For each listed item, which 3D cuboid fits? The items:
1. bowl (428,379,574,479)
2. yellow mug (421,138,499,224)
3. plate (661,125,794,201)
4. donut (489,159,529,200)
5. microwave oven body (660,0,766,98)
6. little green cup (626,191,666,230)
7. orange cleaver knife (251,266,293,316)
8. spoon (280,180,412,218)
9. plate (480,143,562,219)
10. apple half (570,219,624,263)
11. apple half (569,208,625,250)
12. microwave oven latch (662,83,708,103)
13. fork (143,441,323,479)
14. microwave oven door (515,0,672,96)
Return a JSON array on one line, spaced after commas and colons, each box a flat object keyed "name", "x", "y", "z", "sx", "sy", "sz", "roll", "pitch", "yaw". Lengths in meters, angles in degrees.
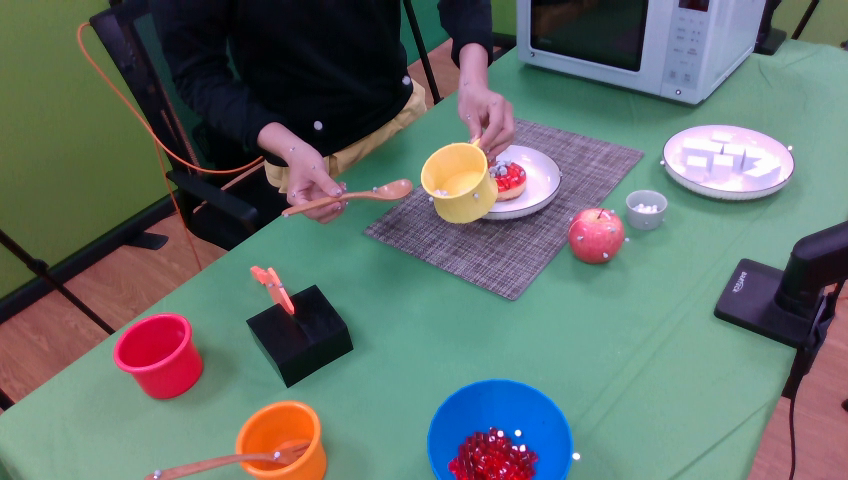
[{"name": "bowl", "x": 0.082, "y": 0.233, "z": 0.644, "sx": 0.151, "sy": 0.077, "sz": 0.150, "roll": -4, "pitch": 39, "yaw": 4}, {"name": "yellow mug", "x": 0.061, "y": -0.094, "z": 0.880, "sx": 0.099, "sy": 0.064, "sz": 0.131, "roll": 23, "pitch": 68, "yaw": 33}, {"name": "plate", "x": 0.513, "y": -0.128, "z": 1.035, "sx": 0.207, "sy": 0.039, "sz": 0.206, "roll": -4, "pitch": 40, "yaw": 4}, {"name": "donut", "x": 0.131, "y": -0.105, "z": 1.043, "sx": 0.099, "sy": 0.048, "sz": 0.098, "roll": -4, "pitch": 38, "yaw": 4}, {"name": "microwave oven body", "x": 0.472, "y": -0.513, "z": 1.317, "sx": 0.438, "sy": 0.261, "sz": 0.327, "roll": 26, "pitch": 51, "yaw": 34}, {"name": "little green cup", "x": 0.352, "y": -0.046, "z": 0.963, "sx": 0.061, "sy": 0.039, "sz": 0.061, "roll": -4, "pitch": 40, "yaw": 4}, {"name": "orange cleaver knife", "x": -0.221, "y": 0.071, "z": 0.873, "sx": 0.012, "sy": 0.077, "sz": 0.210, "roll": -25, "pitch": 11, "yaw": -21}, {"name": "spoon", "x": -0.106, "y": -0.058, "z": 0.841, "sx": 0.195, "sy": 0.022, "sz": 0.041, "roll": -12, "pitch": 41, "yaw": -27}, {"name": "plate", "x": 0.134, "y": -0.098, "z": 1.051, "sx": 0.209, "sy": 0.038, "sz": 0.208, "roll": -4, "pitch": 40, "yaw": 4}, {"name": "apple half", "x": 0.250, "y": 0.009, "z": 0.885, "sx": 0.081, "sy": 0.081, "sz": 0.033, "roll": 7, "pitch": 39, "yaw": 17}, {"name": "apple half", "x": 0.262, "y": -0.014, "z": 0.913, "sx": 0.080, "sy": 0.075, "sz": 0.053, "roll": 5, "pitch": 37, "yaw": 19}, {"name": "microwave oven latch", "x": 0.518, "y": -0.296, "z": 1.204, "sx": 0.078, "sy": 0.029, "sz": 0.030, "roll": 28, "pitch": 52, "yaw": 35}, {"name": "fork", "x": -0.189, "y": 0.231, "z": 0.631, "sx": 0.028, "sy": 0.018, "sz": 0.209, "roll": 35, "pitch": 13, "yaw": 37}, {"name": "microwave oven door", "x": 0.343, "y": -0.454, "z": 1.259, "sx": 0.353, "sy": 0.245, "sz": 0.039, "roll": 26, "pitch": 51, "yaw": 33}]
